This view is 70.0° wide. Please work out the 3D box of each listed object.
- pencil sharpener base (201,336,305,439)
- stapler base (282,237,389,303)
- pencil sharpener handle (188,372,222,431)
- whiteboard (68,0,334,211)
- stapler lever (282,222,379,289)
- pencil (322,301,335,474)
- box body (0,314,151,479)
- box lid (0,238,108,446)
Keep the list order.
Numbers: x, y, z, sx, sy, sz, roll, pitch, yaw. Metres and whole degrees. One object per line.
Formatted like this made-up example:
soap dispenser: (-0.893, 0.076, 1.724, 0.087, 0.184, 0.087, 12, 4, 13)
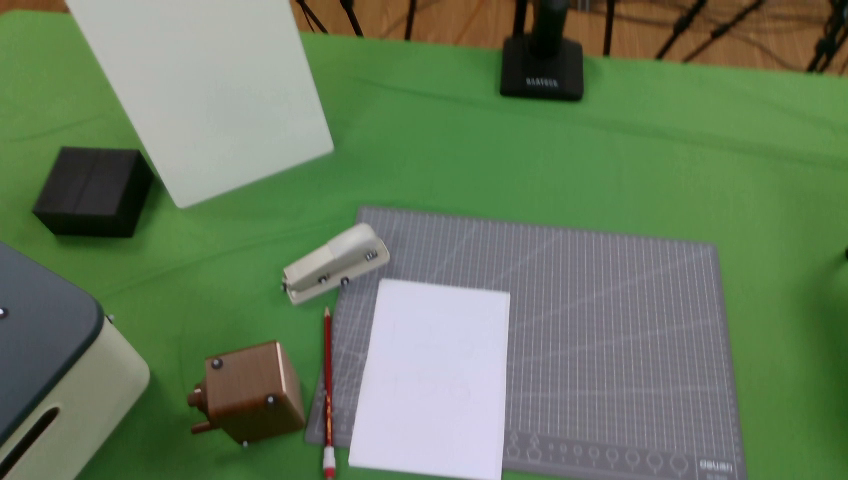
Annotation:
pencil sharpener base: (-0.167, 0.149, 0.600, 0.077, 0.108, 0.061, -13, 60, -7)
stapler base: (-0.106, 0.028, 0.722, 0.130, 0.024, 0.041, -25, 58, -11)
pencil sharpener handle: (-0.216, 0.158, 0.579, 0.031, 0.068, 0.035, -13, 38, -7)
whiteboard: (-0.269, -0.231, 0.751, 0.217, 0.308, 0.142, -23, 42, -13)
stapler lever: (-0.109, 0.016, 0.700, 0.118, 0.040, 0.026, -25, 58, -11)
pencil: (-0.105, 0.152, 0.654, 0.012, 0.012, 0.192, -6, 59, -3)
box body: (-0.492, 0.120, 0.583, 0.362, 0.162, 0.253, 25, 62, 14)
box lid: (-0.494, 0.080, 0.520, 0.370, 0.015, 0.262, 26, 62, 13)
